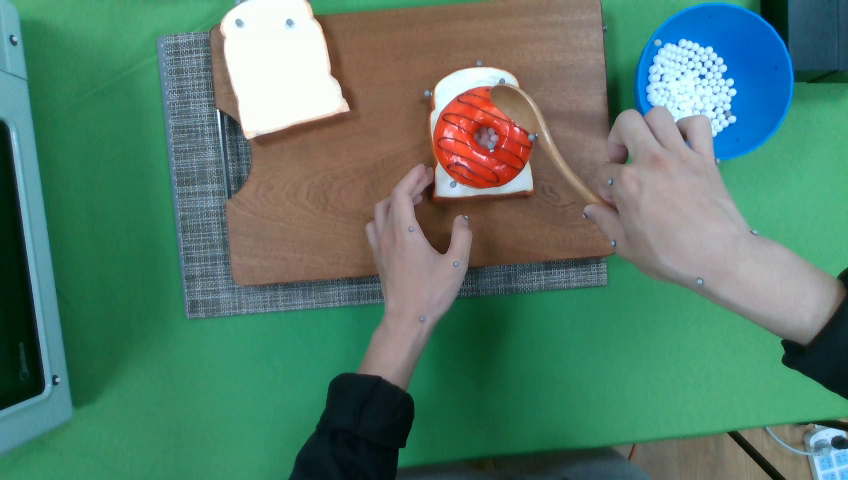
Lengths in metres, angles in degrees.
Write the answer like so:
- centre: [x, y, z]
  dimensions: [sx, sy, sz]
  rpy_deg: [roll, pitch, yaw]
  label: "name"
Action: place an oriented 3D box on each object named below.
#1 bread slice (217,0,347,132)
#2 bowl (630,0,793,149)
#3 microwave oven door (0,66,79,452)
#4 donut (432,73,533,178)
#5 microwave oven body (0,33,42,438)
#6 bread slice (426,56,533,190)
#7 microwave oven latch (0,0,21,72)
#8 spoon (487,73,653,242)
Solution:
- centre: [-0.149, -0.183, 0.605]
  dimensions: [0.107, 0.018, 0.134]
  rpy_deg: [-20, 91, 0]
  label: "bread slice"
- centre: [0.273, -0.163, 0.609]
  dimensions: [0.151, 0.077, 0.151]
  rpy_deg: [0, 92, 0]
  label: "bowl"
- centre: [-0.402, 0.010, 0.512]
  dimensions: [0.039, 0.243, 0.356]
  rpy_deg: [-8, 92, 0]
  label: "microwave oven door"
- centre: [0.056, -0.109, 0.581]
  dimensions: [0.099, 0.048, 0.099]
  rpy_deg: [0, 93, -1]
  label: "donut"
- centre: [-0.553, -0.013, 0.515]
  dimensions: [0.326, 0.260, 0.441]
  rpy_deg: [-8, 93, -1]
  label: "microwave oven body"
- centre: [0.052, -0.118, 0.610]
  dimensions: [0.105, 0.019, 0.131]
  rpy_deg: [-6, 93, -1]
  label: "bread slice"
- centre: [-0.429, -0.209, 0.604]
  dimensions: [0.030, 0.029, 0.079]
  rpy_deg: [-7, 93, -1]
  label: "microwave oven latch"
- centre: [0.119, -0.070, 0.502]
  dimensions: [0.021, 0.042, 0.192]
  rpy_deg: [-33, 75, -14]
  label: "spoon"
